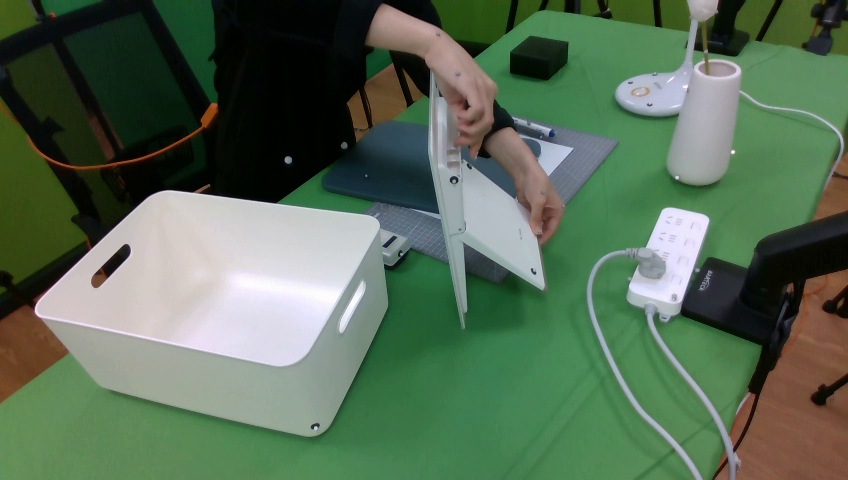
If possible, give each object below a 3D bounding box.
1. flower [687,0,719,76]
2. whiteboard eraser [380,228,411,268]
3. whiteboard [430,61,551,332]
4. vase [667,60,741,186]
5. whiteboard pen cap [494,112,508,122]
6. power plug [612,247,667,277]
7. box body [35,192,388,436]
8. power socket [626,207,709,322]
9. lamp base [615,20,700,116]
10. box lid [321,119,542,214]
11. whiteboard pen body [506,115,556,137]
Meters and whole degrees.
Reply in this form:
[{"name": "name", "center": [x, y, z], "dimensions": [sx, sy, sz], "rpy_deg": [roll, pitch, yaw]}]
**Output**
[{"name": "flower", "center": [0.436, -0.242, 0.934], "dimensions": [0.038, 0.364, 0.043], "rpy_deg": [-24, 49, 8]}, {"name": "whiteboard eraser", "center": [-0.081, 0.008, 0.964], "dimensions": [0.112, 0.042, 0.056], "rpy_deg": [19, 49, 27]}, {"name": "whiteboard", "center": [0.093, -0.057, 0.810], "dimensions": [0.144, 0.307, 0.216], "rpy_deg": [-3, 42, 6]}, {"name": "vase", "center": [0.463, -0.189, 0.994], "dimensions": [0.098, 0.201, 0.097], "rpy_deg": [-4, 40, 3]}, {"name": "whiteboard pen cap", "center": [0.161, -0.253, 1.248], "dimensions": [0.033, 0.018, 0.018], "rpy_deg": [29, 52, 36]}, {"name": "power plug", "center": [0.306, 0.031, 0.852], "dimensions": [0.072, 0.053, 0.035], "rpy_deg": [21, 48, 37]}, {"name": "box body", "center": [-0.251, 0.088, 0.800], "dimensions": [0.362, 0.161, 0.254], "rpy_deg": [7, 42, 16]}, {"name": "power socket", "center": [0.360, 0.026, 0.886], "dimensions": [0.072, 0.033, 0.227], "rpy_deg": [17, 46, 27]}, {"name": "lamp base", "center": [0.484, -0.364, 1.211], "dimensions": [0.180, 0.181, 0.159], "rpy_deg": [-15, 41, -14]}, {"name": "box lid", "center": [0.017, -0.141, 1.145], "dimensions": [0.369, 0.015, 0.263], "rpy_deg": [12, 44, 22]}, {"name": "whiteboard pen body", "center": [0.203, -0.232, 1.213], "dimensions": [0.139, 0.017, 0.017], "rpy_deg": [27, 51, 36]}]
